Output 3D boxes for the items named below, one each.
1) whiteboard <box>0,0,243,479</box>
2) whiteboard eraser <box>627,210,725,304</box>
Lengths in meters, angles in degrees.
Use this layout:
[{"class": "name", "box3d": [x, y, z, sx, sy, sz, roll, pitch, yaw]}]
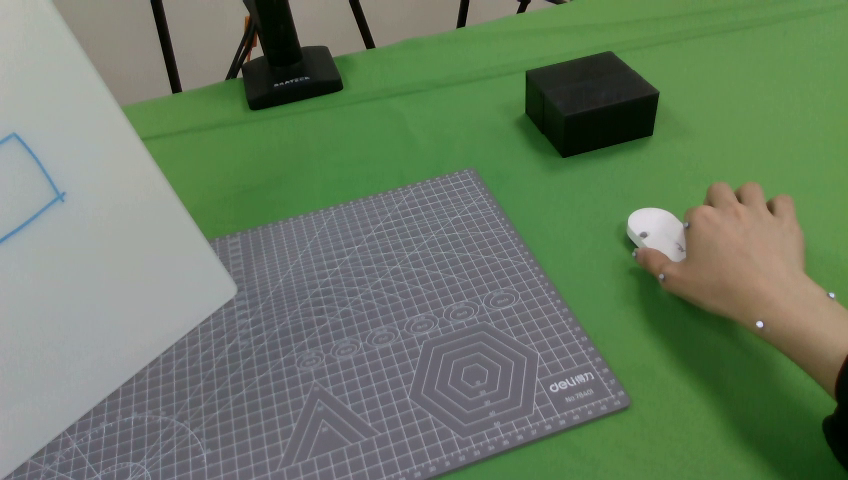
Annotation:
[{"class": "whiteboard", "box3d": [-0.321, -0.022, 0.437, 0.143, 0.308, 0.217, 9, 42, 46]}, {"class": "whiteboard eraser", "box3d": [0.203, 0.010, 0.494, 0.041, 0.019, 0.100, -16, 44, -10]}]
